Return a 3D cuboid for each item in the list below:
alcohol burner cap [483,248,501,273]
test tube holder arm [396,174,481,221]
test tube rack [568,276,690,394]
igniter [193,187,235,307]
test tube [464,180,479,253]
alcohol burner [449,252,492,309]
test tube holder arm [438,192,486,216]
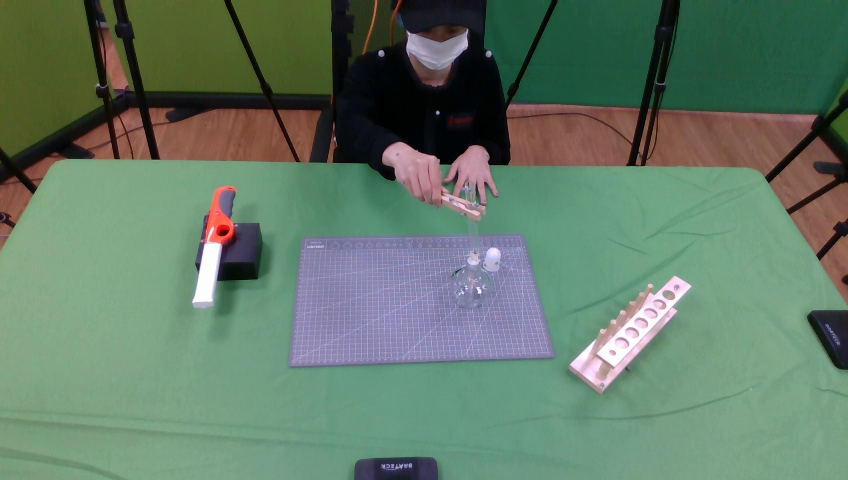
[{"bbox_3d":[0.130,0.037,1.156,0.034,0.048,0.033,1,46,-1],"label":"alcohol burner cap"},{"bbox_3d":[0.020,-0.072,0.993,0.177,0.015,0.013,27,51,31],"label":"test tube holder arm"},{"bbox_3d":[0.354,0.149,1.039,0.242,0.085,0.066,-34,56,-31],"label":"test tube rack"},{"bbox_3d":[-0.379,0.003,1.096,0.057,0.025,0.274,-1,49,-6],"label":"igniter"},{"bbox_3d":[0.077,-0.034,0.974,0.017,0.151,0.017,-5,44,5],"label":"test tube"},{"bbox_3d":[0.084,0.066,1.074,0.078,0.120,0.077,1,44,-1],"label":"alcohol burner"},{"bbox_3d":[0.059,-0.059,0.974,0.087,0.015,0.010,20,49,26],"label":"test tube holder arm"}]
